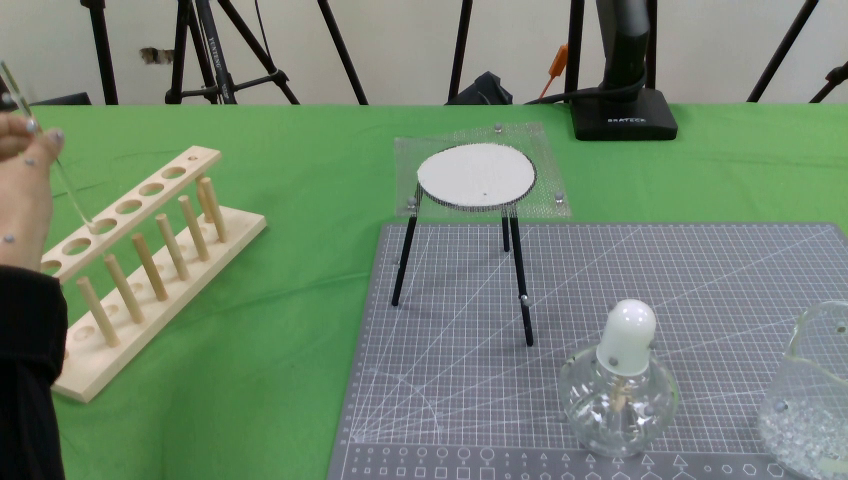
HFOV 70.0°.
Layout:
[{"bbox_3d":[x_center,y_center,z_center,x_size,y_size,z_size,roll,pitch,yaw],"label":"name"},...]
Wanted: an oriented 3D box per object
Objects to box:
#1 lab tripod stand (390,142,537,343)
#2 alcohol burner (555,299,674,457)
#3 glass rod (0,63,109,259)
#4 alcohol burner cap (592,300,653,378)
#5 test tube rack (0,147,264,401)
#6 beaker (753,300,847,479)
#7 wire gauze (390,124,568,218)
[{"bbox_3d":[0.039,0.000,0.495,0.148,0.133,0.147,-3,41,3],"label":"lab tripod stand"},{"bbox_3d":[0.126,0.086,0.397,0.078,0.120,0.077,-2,37,2],"label":"alcohol burner"},{"bbox_3d":[-0.278,-0.044,0.466,0.008,0.201,0.008,-2,43,2],"label":"glass rod"},{"bbox_3d":[0.124,0.059,0.374,0.034,0.048,0.033,0,37,0],"label":"alcohol burner cap"},{"bbox_3d":[-0.248,0.016,0.539,0.066,0.086,0.241,14,42,19],"label":"test tube rack"},{"bbox_3d":[0.255,0.099,0.382,0.084,0.101,0.073,-2,39,3],"label":"beaker"},{"bbox_3d":[0.035,-0.052,0.452,0.125,0.011,0.120,-4,39,1],"label":"wire gauze"}]
